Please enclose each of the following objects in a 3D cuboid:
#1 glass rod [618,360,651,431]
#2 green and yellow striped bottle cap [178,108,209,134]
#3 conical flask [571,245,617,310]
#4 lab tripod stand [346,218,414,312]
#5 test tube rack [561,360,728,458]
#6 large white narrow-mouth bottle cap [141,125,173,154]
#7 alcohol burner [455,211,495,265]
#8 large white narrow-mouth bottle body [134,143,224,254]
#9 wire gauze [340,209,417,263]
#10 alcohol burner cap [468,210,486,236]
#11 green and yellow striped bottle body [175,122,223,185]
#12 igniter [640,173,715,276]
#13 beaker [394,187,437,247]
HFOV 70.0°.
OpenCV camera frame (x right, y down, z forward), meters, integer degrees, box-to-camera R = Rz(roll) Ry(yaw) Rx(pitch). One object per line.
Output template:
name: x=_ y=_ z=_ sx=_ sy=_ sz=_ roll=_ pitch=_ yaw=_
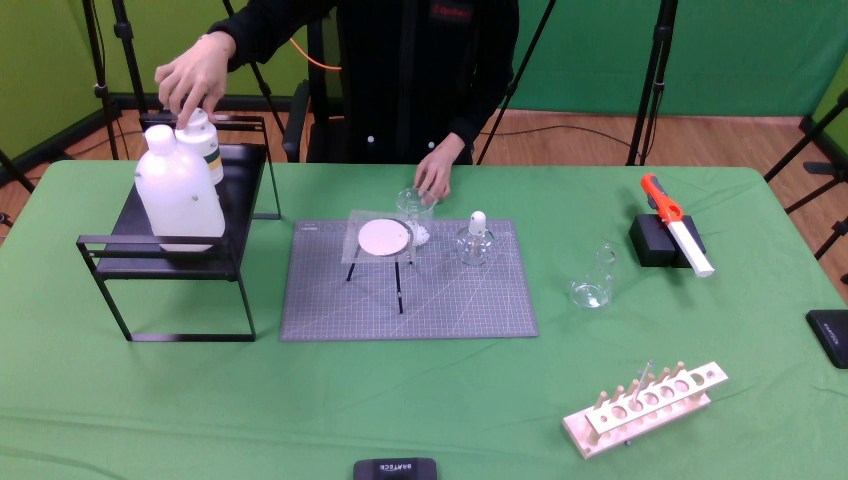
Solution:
glass rod: x=0.298 y=0.227 z=0.865 sx=0.008 sy=0.201 sz=0.008 roll=-1 pitch=48 yaw=2
green and yellow striped bottle cap: x=-0.363 y=-0.188 z=0.955 sx=0.045 sy=0.020 sz=0.045 roll=6 pitch=50 yaw=-7
conical flask: x=0.313 y=0.064 z=1.089 sx=0.075 sy=0.122 sz=0.075 roll=2 pitch=46 yaw=-2
lab tripod stand: x=-0.070 y=0.037 z=1.075 sx=0.148 sy=0.132 sz=0.147 roll=1 pitch=47 yaw=-1
test tube rack: x=0.341 y=0.247 z=0.940 sx=0.243 sy=0.085 sz=0.066 roll=-15 pitch=49 yaw=-18
large white narrow-mouth bottle cap: x=-0.356 y=-0.134 z=0.810 sx=0.038 sy=0.024 sz=0.037 roll=2 pitch=48 yaw=-1
alcohol burner: x=0.097 y=-0.010 z=1.147 sx=0.078 sy=0.120 sz=0.077 roll=1 pitch=47 yaw=0
large white narrow-mouth bottle body: x=-0.358 y=-0.075 z=0.875 sx=0.102 sy=0.195 sz=0.101 roll=1 pitch=48 yaw=-1
wire gauze: x=-0.074 y=-0.007 z=1.023 sx=0.121 sy=0.011 sz=0.124 roll=3 pitch=46 yaw=0
alcohol burner cap: x=0.099 y=-0.034 z=1.119 sx=0.034 sy=0.048 sz=0.033 roll=0 pitch=52 yaw=0
green and yellow striped bottle body: x=-0.370 y=-0.150 z=0.995 sx=0.063 sy=0.120 sz=0.063 roll=4 pitch=46 yaw=-4
igniter: x=0.495 y=-0.039 z=1.204 sx=0.057 sy=0.025 sz=0.274 roll=-2 pitch=47 yaw=-12
beaker: x=-0.018 y=-0.042 z=1.179 sx=0.084 sy=0.101 sz=0.073 roll=-9 pitch=48 yaw=-13
